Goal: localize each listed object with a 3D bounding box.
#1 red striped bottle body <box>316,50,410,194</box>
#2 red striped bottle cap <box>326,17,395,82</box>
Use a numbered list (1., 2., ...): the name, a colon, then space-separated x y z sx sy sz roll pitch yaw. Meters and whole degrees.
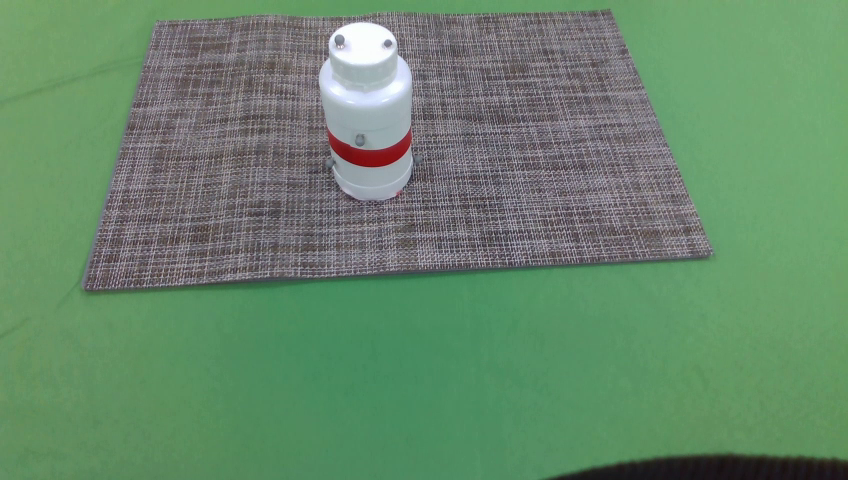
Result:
1. red striped bottle body: -0.042 -0.093 0.434 0.063 0.120 0.062 1 56 -1
2. red striped bottle cap: -0.041 -0.123 0.390 0.044 0.018 0.044 1 59 -2
